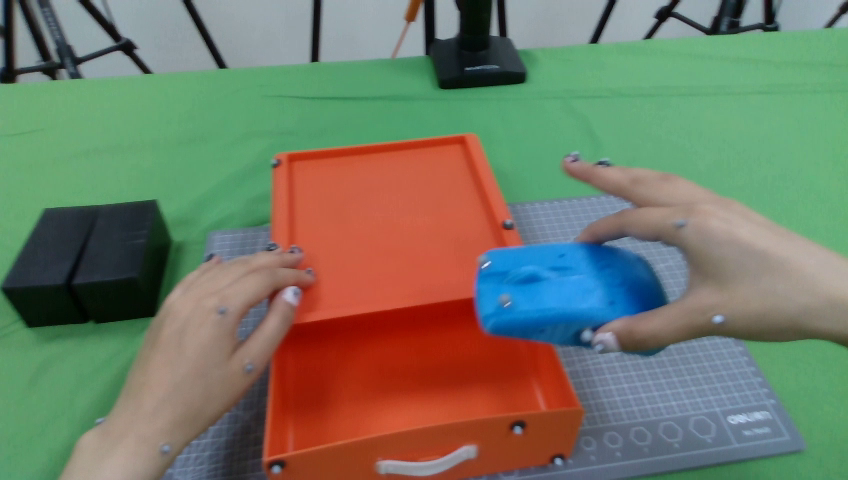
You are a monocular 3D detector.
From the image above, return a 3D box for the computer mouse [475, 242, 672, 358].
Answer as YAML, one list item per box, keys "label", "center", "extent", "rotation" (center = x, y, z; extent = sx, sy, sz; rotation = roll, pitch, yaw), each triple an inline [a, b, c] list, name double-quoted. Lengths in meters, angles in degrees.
- label: "computer mouse"
  center: [0.090, 0.033, 0.363]
  extent: [0.117, 0.041, 0.062]
  rotation: [6, 49, 2]

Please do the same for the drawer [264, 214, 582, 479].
- label: "drawer"
  center: [-0.014, 0.072, 0.453]
  extent: [0.195, 0.074, 0.209]
  rotation: [-8, 44, -6]

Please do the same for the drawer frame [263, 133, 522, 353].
- label: "drawer frame"
  center: [-0.030, 0.007, 0.521]
  extent: [0.202, 0.083, 0.211]
  rotation: [-9, 43, -8]
